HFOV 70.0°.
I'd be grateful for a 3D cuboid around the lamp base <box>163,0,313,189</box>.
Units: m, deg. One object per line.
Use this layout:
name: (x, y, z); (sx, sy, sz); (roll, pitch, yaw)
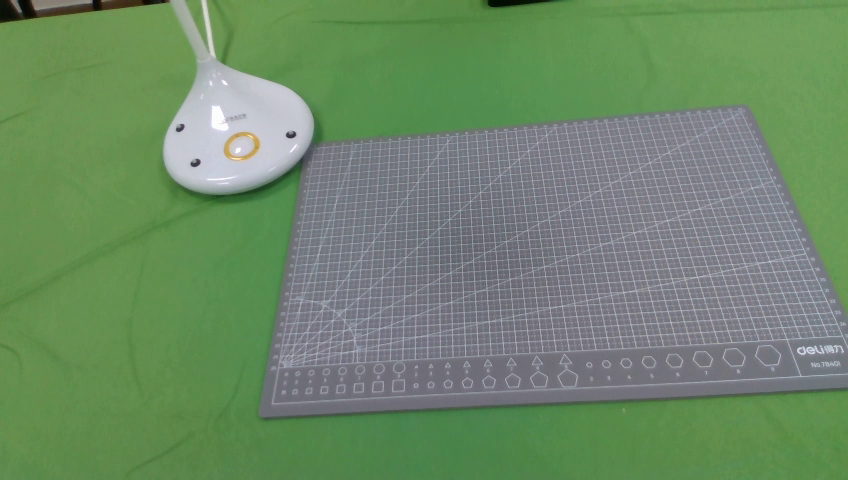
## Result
lamp base: (-0.213, -0.169, 0.589); (0.161, 0.182, 0.177); (-28, 52, -13)
